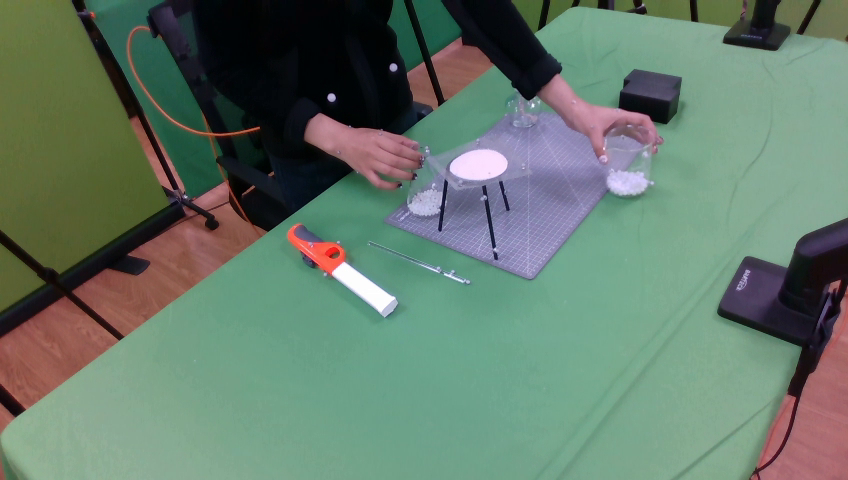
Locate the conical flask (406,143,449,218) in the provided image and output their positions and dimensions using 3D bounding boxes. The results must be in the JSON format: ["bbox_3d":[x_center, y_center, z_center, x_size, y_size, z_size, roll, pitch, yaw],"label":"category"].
[{"bbox_3d":[-0.001,-0.103,1.024,0.075,0.122,0.075,-6,40,5],"label":"conical flask"}]

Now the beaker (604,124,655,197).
[{"bbox_3d":[0.335,-0.127,0.997,0.084,0.101,0.073,-21,42,-8],"label":"beaker"}]

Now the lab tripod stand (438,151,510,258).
[{"bbox_3d":[0.087,-0.064,0.952,0.148,0.132,0.147,-6,38,5],"label":"lab tripod stand"}]

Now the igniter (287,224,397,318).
[{"bbox_3d":[-0.139,0.042,0.958,0.057,0.025,0.274,-42,49,-19],"label":"igniter"}]

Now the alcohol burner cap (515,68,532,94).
[{"bbox_3d":[0.197,-0.315,1.187,0.034,0.048,0.033,-3,46,3],"label":"alcohol burner cap"}]

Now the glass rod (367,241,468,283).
[{"bbox_3d":[-0.014,0.033,0.960,0.198,0.008,0.008,20,49,31],"label":"glass rod"}]

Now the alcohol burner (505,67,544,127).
[{"bbox_3d":[0.201,-0.288,1.211,0.078,0.119,0.077,-6,38,5],"label":"alcohol burner"}]

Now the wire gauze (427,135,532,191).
[{"bbox_3d":[0.081,-0.115,0.909,0.125,0.011,0.120,-18,39,-11],"label":"wire gauze"}]
